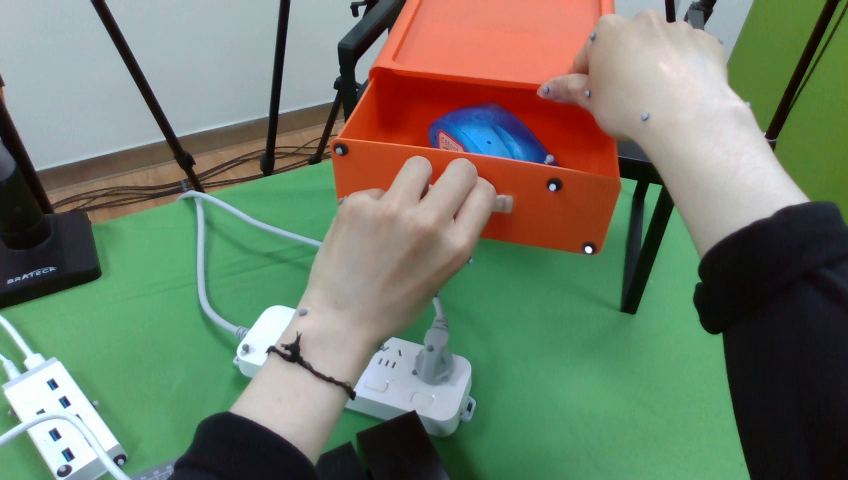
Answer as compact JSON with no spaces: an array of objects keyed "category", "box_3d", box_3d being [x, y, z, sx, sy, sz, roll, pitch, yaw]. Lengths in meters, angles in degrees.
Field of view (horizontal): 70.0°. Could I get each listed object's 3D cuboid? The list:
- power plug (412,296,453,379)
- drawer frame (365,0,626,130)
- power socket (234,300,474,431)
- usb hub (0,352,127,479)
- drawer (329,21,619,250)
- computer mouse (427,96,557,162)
[{"category":"power plug","box_3d":[0.016,0.094,0.542,0.035,0.053,0.072,22,47,21]},{"category":"drawer frame","box_3d":[0.070,-0.168,0.557,0.201,0.083,0.212,7,43,6]},{"category":"power socket","box_3d":[-0.065,0.111,0.552,0.226,0.033,0.072,14,43,13]},{"category":"usb hub","box_3d":[-0.305,0.148,0.508,0.124,0.025,0.049,34,51,30]},{"category":"drawer","box_3d":[0.051,-0.098,0.487,0.194,0.074,0.210,9,44,8]},{"category":"computer mouse","box_3d":[0.056,-0.078,0.485,0.063,0.041,0.116,-22,54,-26]}]
